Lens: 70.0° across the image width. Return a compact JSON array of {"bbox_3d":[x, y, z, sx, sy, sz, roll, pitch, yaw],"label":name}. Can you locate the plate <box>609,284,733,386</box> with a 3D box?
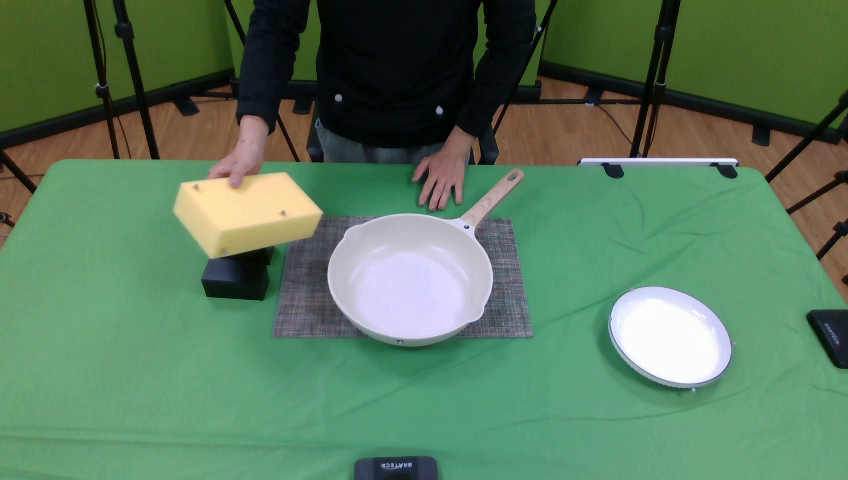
[{"bbox_3d":[0.425,0.167,1.059,0.208,0.039,0.206,2,46,-2],"label":"plate"}]

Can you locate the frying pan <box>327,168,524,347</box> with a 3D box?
[{"bbox_3d":[0.042,0.009,1.132,0.305,0.103,0.487,34,61,24],"label":"frying pan"}]

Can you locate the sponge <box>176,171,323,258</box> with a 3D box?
[{"bbox_3d":[-0.288,-0.048,1.017,0.117,0.061,0.207,44,33,21],"label":"sponge"}]
